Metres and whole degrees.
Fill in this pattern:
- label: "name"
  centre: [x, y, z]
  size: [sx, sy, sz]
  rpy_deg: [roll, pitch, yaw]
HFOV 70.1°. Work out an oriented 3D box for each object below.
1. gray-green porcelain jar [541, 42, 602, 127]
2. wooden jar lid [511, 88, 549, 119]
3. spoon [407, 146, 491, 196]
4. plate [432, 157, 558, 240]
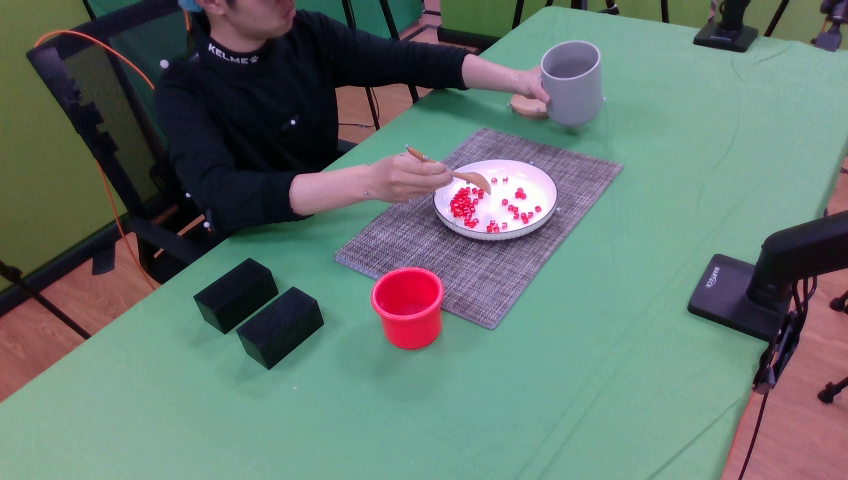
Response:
- label: "gray-green porcelain jar"
  centre: [0.275, -0.283, 1.121]
  size: [0.105, 0.127, 0.105]
  rpy_deg: [-9, 53, 12]
- label: "wooden jar lid"
  centre: [0.237, -0.286, 1.271]
  size: [0.108, 0.021, 0.108]
  rpy_deg: [-5, 42, 5]
- label: "spoon"
  centre: [0.043, -0.105, 0.929]
  size: [0.195, 0.021, 0.041]
  rpy_deg: [16, 41, -42]
- label: "plate"
  centre: [0.118, -0.066, 1.013]
  size: [0.207, 0.039, 0.206]
  rpy_deg: [-4, 41, 4]
